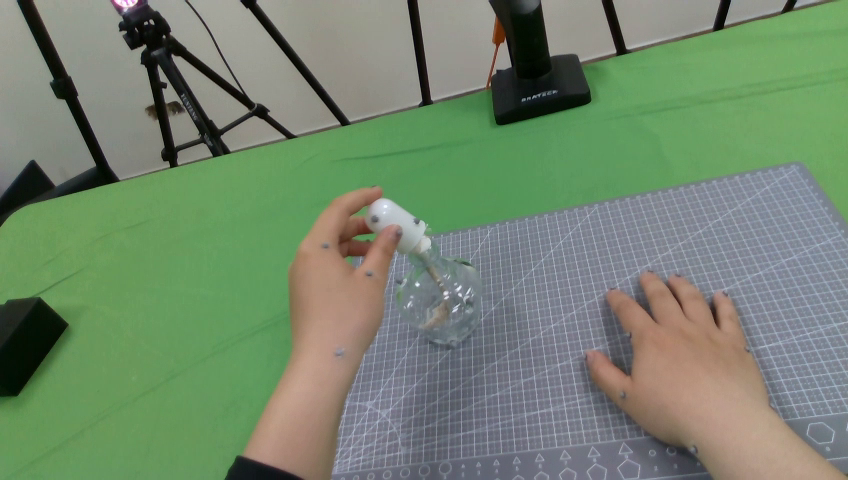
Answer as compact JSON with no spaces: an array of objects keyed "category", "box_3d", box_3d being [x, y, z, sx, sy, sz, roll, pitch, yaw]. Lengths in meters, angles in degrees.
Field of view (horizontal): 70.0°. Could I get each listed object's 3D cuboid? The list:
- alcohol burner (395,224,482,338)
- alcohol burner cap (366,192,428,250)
[{"category":"alcohol burner","box_3d":[0.008,0.028,0.512,0.078,0.120,0.077,-11,42,10]},{"category":"alcohol burner cap","box_3d":[-0.023,-0.018,0.469,0.034,0.048,0.033,-33,35,28]}]
